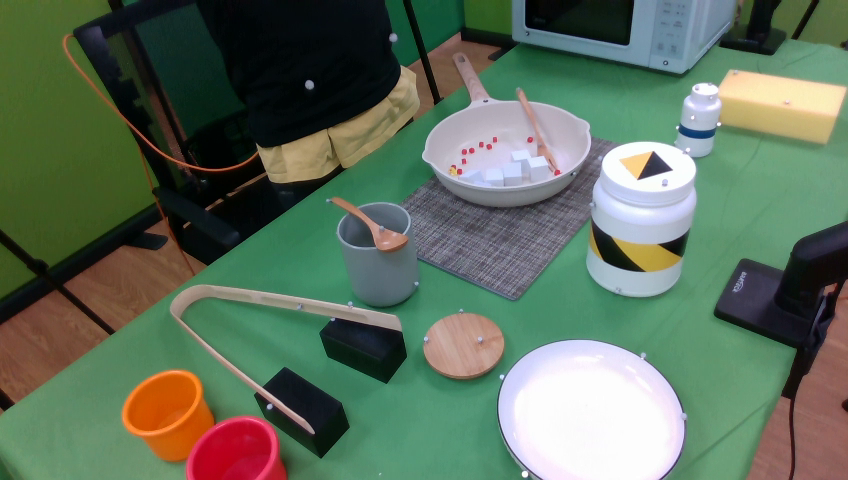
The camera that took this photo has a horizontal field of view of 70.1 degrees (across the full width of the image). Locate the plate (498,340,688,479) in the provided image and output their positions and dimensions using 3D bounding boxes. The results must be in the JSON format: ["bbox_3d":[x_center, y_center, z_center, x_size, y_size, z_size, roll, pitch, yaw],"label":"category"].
[{"bbox_3d":[0.189,0.206,0.692,0.207,0.039,0.206,-4,40,4],"label":"plate"}]

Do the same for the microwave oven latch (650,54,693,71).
[{"bbox_3d":[0.531,-0.386,1.301,0.078,0.029,0.030,26,51,33],"label":"microwave oven latch"}]

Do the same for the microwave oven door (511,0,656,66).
[{"bbox_3d":[0.351,-0.539,1.349,0.353,0.245,0.039,24,50,31],"label":"microwave oven door"}]

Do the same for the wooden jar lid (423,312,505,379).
[{"bbox_3d":[0.053,0.142,0.800,0.108,0.021,0.108,-5,39,4],"label":"wooden jar lid"}]

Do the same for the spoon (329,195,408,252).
[{"bbox_3d":[-0.082,-0.029,0.828,0.042,0.022,0.192,-32,43,-20],"label":"spoon"}]

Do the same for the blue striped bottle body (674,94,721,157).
[{"bbox_3d":[0.486,-0.213,1.071,0.063,0.121,0.063,-4,41,4],"label":"blue striped bottle body"}]

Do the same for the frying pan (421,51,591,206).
[{"bbox_3d":[0.127,-0.233,1.155,0.307,0.103,0.484,-11,49,-5],"label":"frying pan"}]

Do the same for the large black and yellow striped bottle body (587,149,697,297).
[{"bbox_3d":[0.298,-0.026,0.835,0.131,0.185,0.130,-4,41,4],"label":"large black and yellow striped bottle body"}]

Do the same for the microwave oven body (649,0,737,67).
[{"bbox_3d":[0.475,-0.602,1.411,0.438,0.261,0.327,23,50,32],"label":"microwave oven body"}]

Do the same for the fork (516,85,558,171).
[{"bbox_3d":[0.208,-0.213,1.134,0.028,0.019,0.206,-15,66,0],"label":"fork"}]

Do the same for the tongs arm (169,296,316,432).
[{"bbox_3d":[-0.248,0.148,0.775,0.384,0.028,0.028,21,57,44],"label":"tongs arm"}]

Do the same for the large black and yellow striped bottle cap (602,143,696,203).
[{"bbox_3d":[0.289,-0.088,0.779,0.115,0.019,0.114,-5,40,4],"label":"large black and yellow striped bottle cap"}]

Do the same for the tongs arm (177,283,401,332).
[{"bbox_3d":[-0.199,0.096,0.823,0.382,0.027,0.051,7,45,34],"label":"tongs arm"}]

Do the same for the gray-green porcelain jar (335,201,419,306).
[{"bbox_3d":[-0.064,0.024,0.872,0.106,0.127,0.105,-4,41,4],"label":"gray-green porcelain jar"}]

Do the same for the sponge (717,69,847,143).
[{"bbox_3d":[0.663,-0.256,1.142,0.205,0.061,0.118,19,47,28],"label":"sponge"}]

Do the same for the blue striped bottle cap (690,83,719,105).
[{"bbox_3d":[0.482,-0.251,1.038,0.044,0.021,0.044,-5,40,5],"label":"blue striped bottle cap"}]
